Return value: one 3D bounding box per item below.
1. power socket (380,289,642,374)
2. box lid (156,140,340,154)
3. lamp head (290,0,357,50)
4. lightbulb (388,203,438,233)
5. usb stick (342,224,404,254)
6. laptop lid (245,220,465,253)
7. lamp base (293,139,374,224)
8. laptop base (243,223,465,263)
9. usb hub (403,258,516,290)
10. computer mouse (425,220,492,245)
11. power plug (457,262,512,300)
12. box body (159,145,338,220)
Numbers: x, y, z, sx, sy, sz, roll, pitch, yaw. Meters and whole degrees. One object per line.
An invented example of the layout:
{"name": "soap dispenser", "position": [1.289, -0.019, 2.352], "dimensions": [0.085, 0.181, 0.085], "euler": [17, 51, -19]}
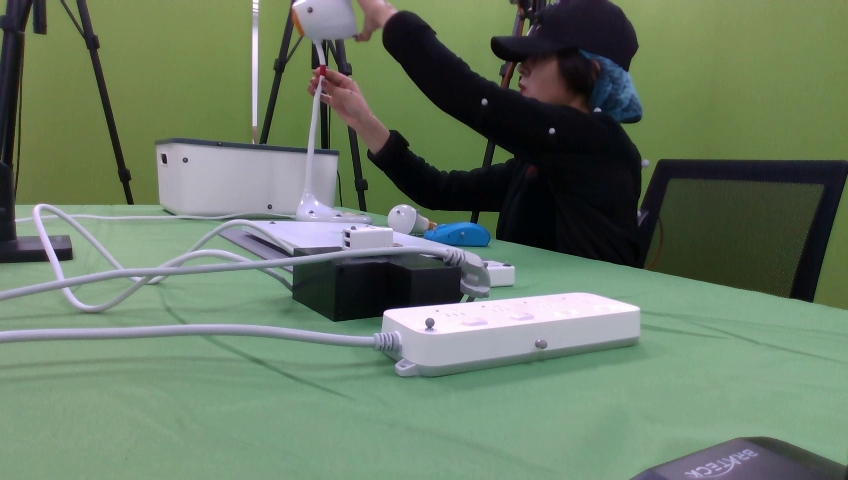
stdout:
{"name": "power socket", "position": [0.072, 0.064, 0.461], "dimensions": [0.228, 0.032, 0.072], "euler": [-2, 8, -30]}
{"name": "box lid", "position": [-0.409, -0.212, 1.404], "dimensions": [0.373, 0.015, 0.262], "euler": [-2, 8, -32]}
{"name": "lamp head", "position": [-0.202, -0.445, 1.208], "dimensions": [0.123, 0.112, 0.112], "euler": [-23, 10, -3]}
{"name": "lightbulb", "position": [-0.017, -0.034, 1.162], "dimensions": [0.108, 0.059, 0.059], "euler": [16, 0, -28]}
{"name": "usb stick", "position": [-0.046, -0.001, 0.567], "dimensions": [0.059, 0.027, 0.021], "euler": [0, 5, -32]}
{"name": "laptop lid", "position": [-0.124, -0.009, 0.945], "dimensions": [0.243, 0.013, 0.355], "euler": [1, 7, -29]}
{"name": "lamp base", "position": [-0.195, -0.121, 1.255], "dimensions": [0.179, 0.180, 0.161], "euler": [1, 6, 11]}
{"name": "laptop base", "position": [-0.126, 0.003, 0.946], "dimensions": [0.237, 0.023, 0.352], "euler": [2, 6, -31]}
{"name": "usb hub", "position": [0.042, 0.038, 0.690], "dimensions": [0.126, 0.025, 0.049], "euler": [-2, 10, -30]}
{"name": "computer mouse", "position": [0.060, -0.013, 1.060], "dimensions": [0.117, 0.041, 0.062], "euler": [-2, 10, -6]}
{"name": "power plug", "position": [0.052, 0.051, 0.543], "dimensions": [0.035, 0.052, 0.072], "euler": [6, 37, -19]}
{"name": "box body", "position": [-0.410, -0.139, 1.414], "dimensions": [0.366, 0.160, 0.253], "euler": [-3, 8, -33]}
